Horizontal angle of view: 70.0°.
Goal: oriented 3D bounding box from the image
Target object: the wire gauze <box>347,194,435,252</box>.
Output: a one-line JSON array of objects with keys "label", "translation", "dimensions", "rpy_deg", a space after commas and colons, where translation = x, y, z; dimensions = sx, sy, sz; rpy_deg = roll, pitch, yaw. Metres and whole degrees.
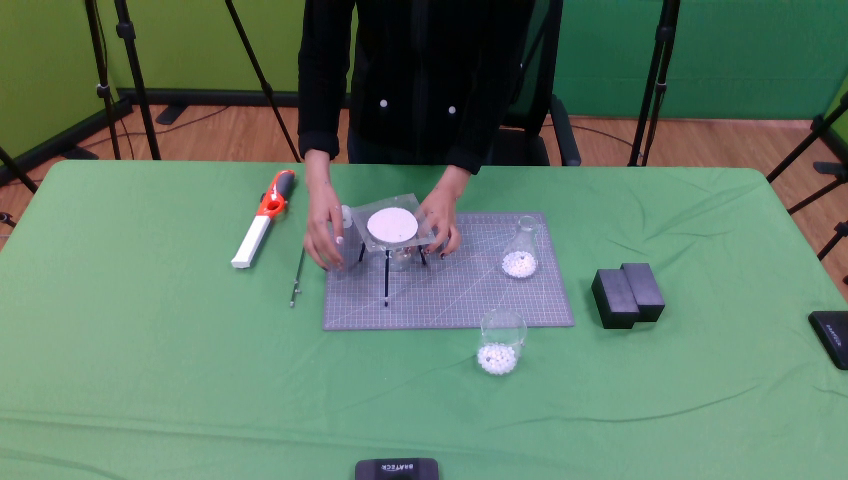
[{"label": "wire gauze", "translation": [-0.058, -0.029, 1.048], "dimensions": [0.125, 0.011, 0.120], "rpy_deg": [-12, 48, -16]}]

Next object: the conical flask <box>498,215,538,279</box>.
[{"label": "conical flask", "translation": [0.183, 0.010, 1.131], "dimensions": [0.075, 0.122, 0.075], "rpy_deg": [2, 46, -2]}]

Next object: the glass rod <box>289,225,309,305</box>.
[{"label": "glass rod", "translation": [-0.235, 0.042, 1.149], "dimensions": [0.008, 0.008, 0.198], "rpy_deg": [3, 47, -1]}]

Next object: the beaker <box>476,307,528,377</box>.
[{"label": "beaker", "translation": [0.122, 0.171, 0.991], "dimensions": [0.084, 0.101, 0.073], "rpy_deg": [-34, 56, -30]}]

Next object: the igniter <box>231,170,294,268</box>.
[{"label": "igniter", "translation": [-0.321, -0.051, 1.220], "dimensions": [0.057, 0.025, 0.275], "rpy_deg": [1, 45, 12]}]

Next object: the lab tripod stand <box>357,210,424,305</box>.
[{"label": "lab tripod stand", "translation": [-0.061, 0.020, 1.094], "dimensions": [0.148, 0.132, 0.147], "rpy_deg": [3, 44, -2]}]

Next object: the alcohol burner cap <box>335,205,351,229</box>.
[{"label": "alcohol burner cap", "translation": [-0.164, -0.049, 1.216], "dimensions": [0.034, 0.048, 0.033], "rpy_deg": [2, 45, -2]}]

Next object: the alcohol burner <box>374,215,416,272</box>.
[{"label": "alcohol burner", "translation": [-0.054, 0.002, 1.126], "dimensions": [0.078, 0.120, 0.077], "rpy_deg": [1, 45, 0]}]
